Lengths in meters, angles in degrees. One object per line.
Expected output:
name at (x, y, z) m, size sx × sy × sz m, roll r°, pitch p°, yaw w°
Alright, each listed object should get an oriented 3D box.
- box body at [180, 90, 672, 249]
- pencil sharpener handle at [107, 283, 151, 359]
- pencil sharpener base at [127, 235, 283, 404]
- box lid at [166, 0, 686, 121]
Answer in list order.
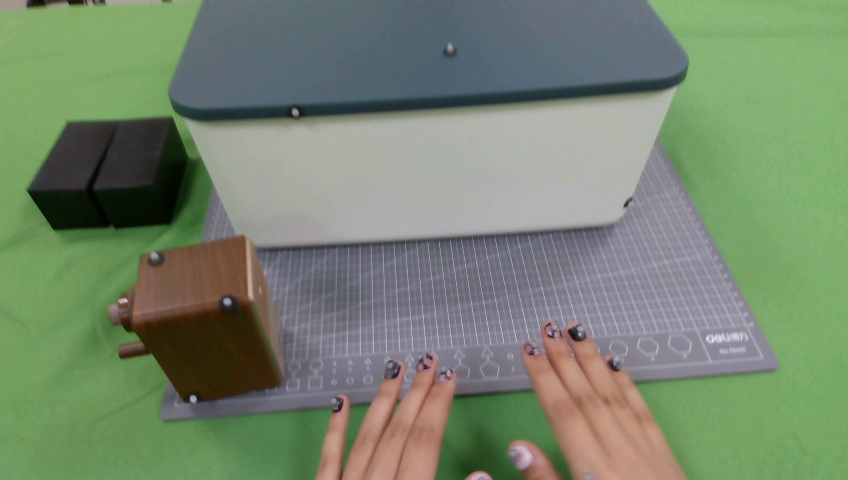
box body at (-0.001, -0.136, 0.552) m, size 0.364 × 0.162 × 0.251 m, roll -4°, pitch 48°, yaw -3°
pencil sharpener handle at (-0.196, 0.058, 0.398) m, size 0.031 × 0.068 × 0.035 m, roll -11°, pitch 51°, yaw -8°
pencil sharpener base at (-0.145, 0.057, 0.414) m, size 0.077 × 0.108 × 0.060 m, roll -11°, pitch 49°, yaw -8°
box lid at (-0.005, -0.187, 0.497) m, size 0.372 × 0.015 × 0.260 m, roll -4°, pitch 47°, yaw -3°
